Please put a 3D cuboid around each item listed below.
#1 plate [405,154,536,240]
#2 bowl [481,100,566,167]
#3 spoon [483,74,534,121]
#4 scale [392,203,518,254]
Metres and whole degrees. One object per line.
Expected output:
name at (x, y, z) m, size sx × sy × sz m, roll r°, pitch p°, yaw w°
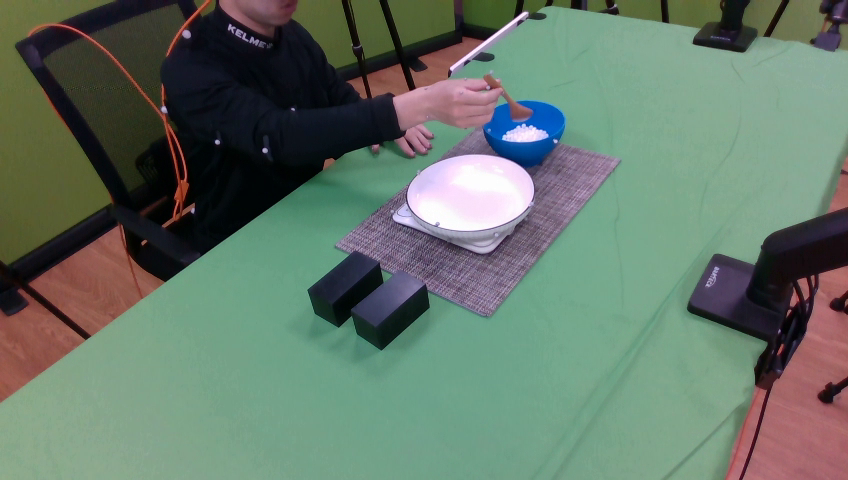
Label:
plate at (0.075, -0.067, 0.973) m, size 0.209 × 0.038 × 0.208 m, roll -4°, pitch 41°, yaw 4°
bowl at (0.183, -0.186, 1.111) m, size 0.151 × 0.077 × 0.150 m, roll -4°, pitch 41°, yaw 4°
spoon at (0.137, -0.235, 1.004) m, size 0.041 × 0.195 × 0.021 m, roll -18°, pitch 69°, yaw 25°
scale at (0.060, -0.050, 1.006) m, size 0.199 × 0.032 × 0.149 m, roll 22°, pitch 48°, yaw 30°
